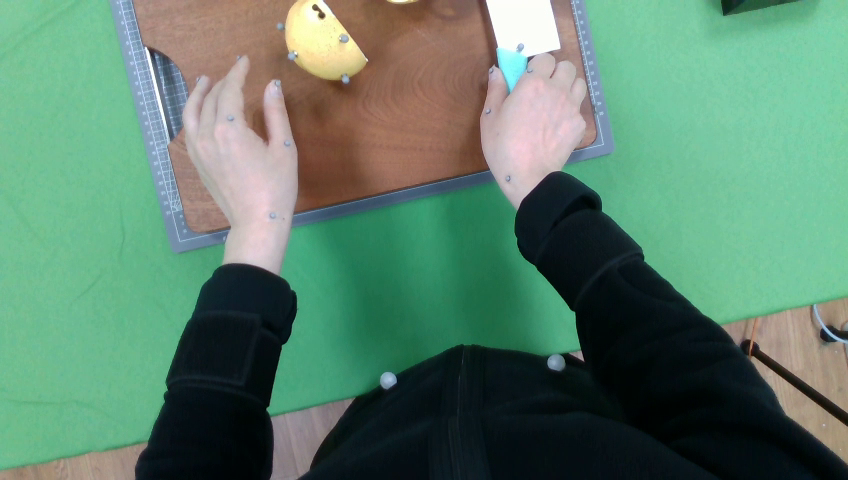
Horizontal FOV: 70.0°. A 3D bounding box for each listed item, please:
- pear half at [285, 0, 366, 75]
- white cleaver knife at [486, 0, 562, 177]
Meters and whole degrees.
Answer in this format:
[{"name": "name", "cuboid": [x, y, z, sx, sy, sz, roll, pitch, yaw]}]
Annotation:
[{"name": "pear half", "cuboid": [-0.091, -0.176, 0.514, 0.056, 0.110, 0.076, -43, 88, 2]}, {"name": "white cleaver knife", "cuboid": [0.090, -0.197, 0.554, 0.066, 0.021, 0.286, -13, 91, -1]}]
